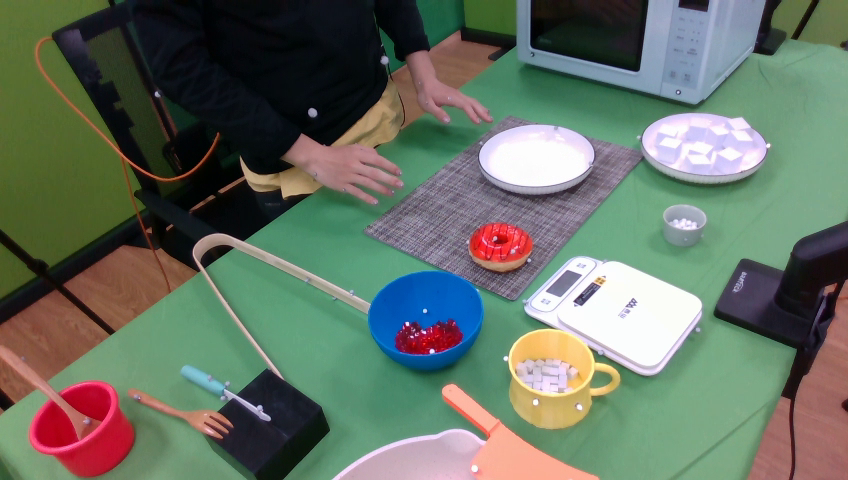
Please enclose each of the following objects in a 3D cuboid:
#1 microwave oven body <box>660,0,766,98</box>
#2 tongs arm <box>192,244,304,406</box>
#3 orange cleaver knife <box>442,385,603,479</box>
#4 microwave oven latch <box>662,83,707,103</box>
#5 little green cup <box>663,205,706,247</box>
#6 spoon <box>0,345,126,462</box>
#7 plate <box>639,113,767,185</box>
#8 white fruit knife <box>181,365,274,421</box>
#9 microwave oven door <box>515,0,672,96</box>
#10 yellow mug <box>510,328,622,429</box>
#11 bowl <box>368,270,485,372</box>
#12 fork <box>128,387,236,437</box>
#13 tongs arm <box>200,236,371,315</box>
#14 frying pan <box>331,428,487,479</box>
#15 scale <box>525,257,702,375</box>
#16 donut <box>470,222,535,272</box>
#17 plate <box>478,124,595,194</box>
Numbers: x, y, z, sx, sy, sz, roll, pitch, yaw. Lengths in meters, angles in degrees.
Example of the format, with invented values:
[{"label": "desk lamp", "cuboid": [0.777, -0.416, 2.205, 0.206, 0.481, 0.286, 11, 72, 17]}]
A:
[{"label": "microwave oven body", "cuboid": [0.472, -0.513, 1.317, 0.438, 0.261, 0.327, 26, 51, 34]}, {"label": "tongs arm", "cuboid": [-0.268, 0.111, 0.884, 0.028, 0.028, 0.384, -36, 47, -17]}, {"label": "orange cleaver knife", "cuboid": [0.086, 0.219, 0.612, 0.209, 0.012, 0.077, 28, 49, 35]}, {"label": "microwave oven latch", "cuboid": [0.517, -0.296, 1.204, 0.078, 0.029, 0.030, 27, 52, 35]}, {"label": "little green cup", "cuboid": [0.396, -0.020, 0.926, 0.061, 0.039, 0.061, -4, 40, 4]}, {"label": "spoon", "cuboid": [-0.434, 0.192, 0.720, 0.194, 0.021, 0.042, 47, 54, -7]}, {"label": "plate", "cuboid": [0.489, -0.157, 1.074, 0.207, 0.039, 0.206, -4, 40, 4]}, {"label": "white fruit knife", "cuboid": [-0.246, 0.187, 0.747, 0.205, 0.027, 0.016, 9, 41, 40]}, {"label": "microwave oven door", "cuboid": [0.343, -0.454, 1.259, 0.353, 0.245, 0.039, 26, 51, 33]}, {"label": "yellow mug", "cuboid": [0.168, 0.164, 0.721, 0.130, 0.064, 0.099, 0, 40, 8]}, {"label": "bowl", "cuboid": [0.007, 0.118, 0.791, 0.151, 0.077, 0.150, -5, 40, 4]}, {"label": "fork", "cuboid": [-0.305, 0.207, 0.744, 0.206, 0.019, 0.028, 3, 41, 36]}, {"label": "tongs arm", "cuboid": [-0.209, 0.062, 0.924, 0.381, 0.027, 0.051, 23, 54, 32]}, {"label": "frying pan", "cuboid": [-0.089, 0.306, 0.564, 0.487, 0.103, 0.306, 10, 41, 7]}, {"label": "scale", "cuboid": [0.254, 0.091, 0.821, 0.199, 0.032, 0.149, 28, 51, 35]}, {"label": "donut", "cuboid": [0.119, 0.009, 0.923, 0.099, 0.048, 0.098, -4, 38, 3]}, {"label": "plate", "cuboid": [0.202, -0.142, 1.093, 0.209, 0.038, 0.208, -4, 40, 4]}]
